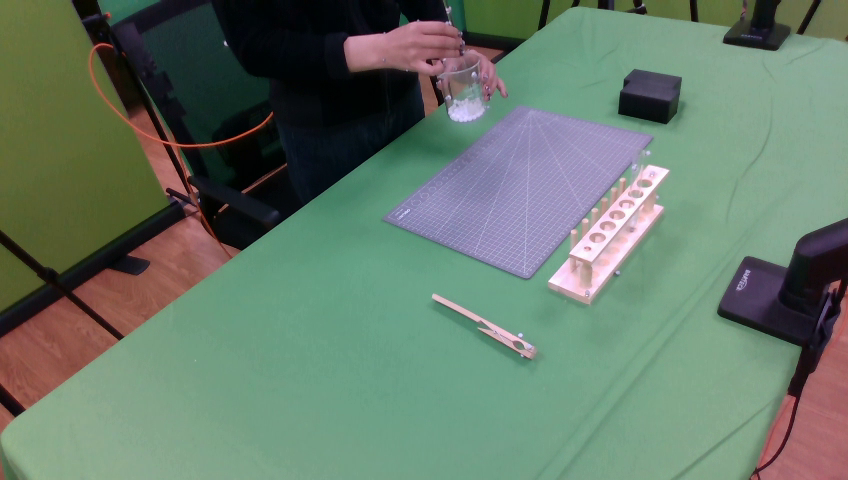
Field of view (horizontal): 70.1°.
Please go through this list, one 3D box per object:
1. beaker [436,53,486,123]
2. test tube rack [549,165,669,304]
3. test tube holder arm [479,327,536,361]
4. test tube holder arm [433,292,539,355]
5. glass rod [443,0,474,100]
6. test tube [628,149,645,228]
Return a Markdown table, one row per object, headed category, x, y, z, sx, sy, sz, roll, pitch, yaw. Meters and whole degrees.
| category | x | y | z | sx | sy | sz | roll | pitch | yaw |
| --- | --- | --- | --- | --- | --- | --- | --- | --- | --- |
| beaker | 0.065 | -0.262 | 1.052 | 0.084 | 0.101 | 0.073 | -30 | 40 | -19 |
| test tube rack | 0.279 | -0.018 | 0.902 | 0.066 | 0.085 | 0.243 | 24 | 50 | 33 |
| test tube holder arm | 0.110 | 0.134 | 0.805 | 0.087 | 0.015 | 0.010 | 29 | 83 | 36 |
| test tube holder arm | 0.081 | 0.113 | 0.832 | 0.177 | 0.015 | 0.013 | 28 | 82 | 36 |
| glass rod | 0.059 | -0.322 | 1.024 | 0.008 | 0.201 | 0.008 | -12 | 43 | 12 |
| test tube | 0.309 | -0.071 | 0.882 | 0.017 | 0.151 | 0.017 | -7 | 47 | 8 |
